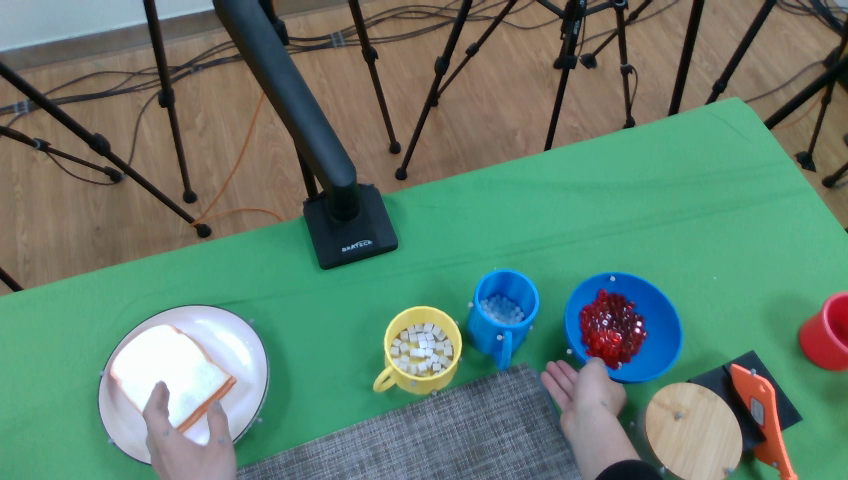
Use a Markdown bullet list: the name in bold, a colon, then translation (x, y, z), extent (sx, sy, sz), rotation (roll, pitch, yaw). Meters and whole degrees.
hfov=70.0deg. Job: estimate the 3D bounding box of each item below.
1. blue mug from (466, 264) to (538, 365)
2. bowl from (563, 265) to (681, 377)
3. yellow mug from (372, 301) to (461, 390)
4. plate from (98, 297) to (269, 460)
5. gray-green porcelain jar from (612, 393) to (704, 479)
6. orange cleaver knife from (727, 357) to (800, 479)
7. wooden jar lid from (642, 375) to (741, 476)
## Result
- **blue mug**: translation (0.100, 0.106, 0.794), extent (0.082, 0.106, 0.115), rotation (2, 61, -2)
- **bowl**: translation (0.253, 0.118, 0.809), extent (0.151, 0.077, 0.150), rotation (1, 62, -2)
- **yellow mug**: translation (-0.015, 0.147, 0.787), extent (0.131, 0.064, 0.099), rotation (-37, 69, -19)
- **plate**: translation (-0.301, 0.175, 0.774), extent (0.208, 0.039, 0.206), rotation (1, 62, -2)
- **gray-green porcelain jar**: translation (0.289, 0.235, 0.720), extent (0.106, 0.127, 0.105), rotation (2, 61, -2)
- **orange cleaver knife**: translation (0.424, 0.246, 0.745), extent (0.012, 0.077, 0.211), rotation (-19, 90, -12)
- **wooden jar lid**: translation (0.290, 0.203, 0.665), extent (0.108, 0.021, 0.107), rotation (3, 63, -5)
